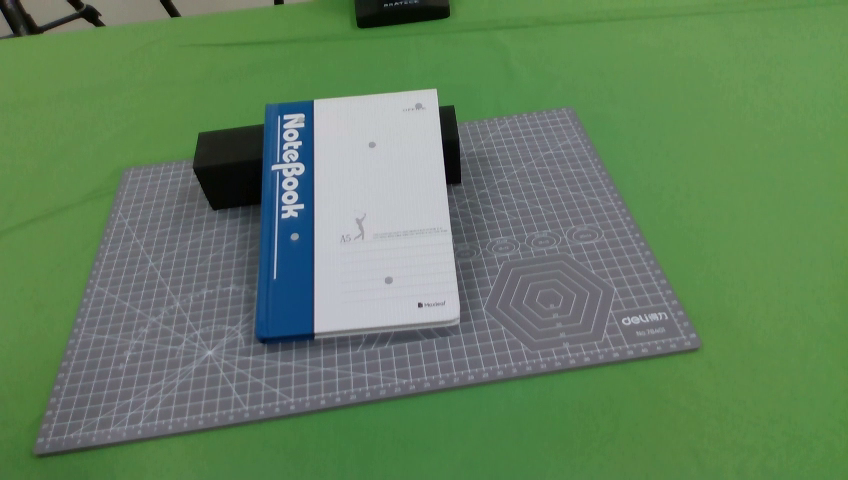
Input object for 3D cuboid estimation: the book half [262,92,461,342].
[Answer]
[{"bbox_3d":[-0.052,-0.027,0.474,0.143,0.007,0.208,-5,64,1],"label":"book half"}]
